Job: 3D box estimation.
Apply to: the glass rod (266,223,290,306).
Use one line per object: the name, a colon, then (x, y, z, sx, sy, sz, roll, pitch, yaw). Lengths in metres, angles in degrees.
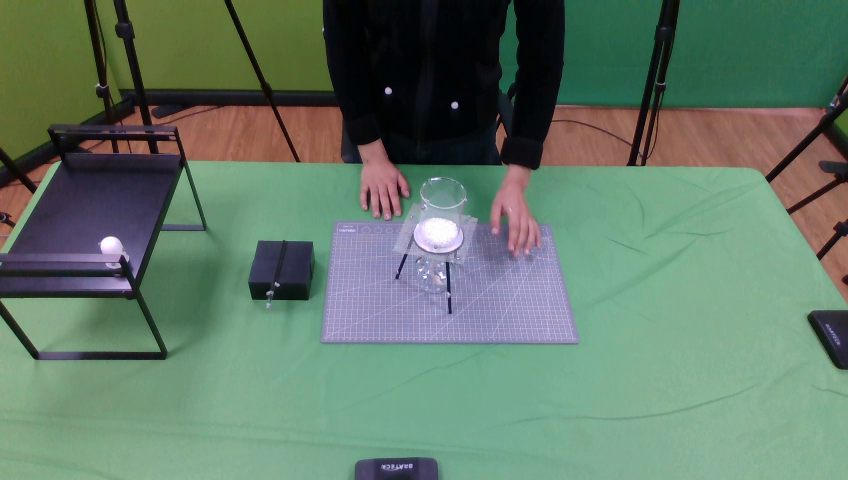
glass rod: (-0.260, 0.039, 1.083, 0.008, 0.008, 0.198, 3, 46, -1)

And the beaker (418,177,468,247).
beaker: (0.026, -0.045, 1.004, 0.074, 0.101, 0.083, -20, 51, -22)

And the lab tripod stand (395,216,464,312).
lab tripod stand: (0.023, 0.037, 1.084, 0.148, 0.132, 0.147, 4, 47, -4)

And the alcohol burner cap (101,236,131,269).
alcohol burner cap: (-0.452, 0.016, 0.883, 0.034, 0.048, 0.033, 2, 47, -1)

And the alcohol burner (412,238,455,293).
alcohol burner: (0.019, 0.040, 1.094, 0.078, 0.119, 0.077, 3, 45, -3)

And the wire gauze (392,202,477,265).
wire gauze: (0.021, -0.011, 1.038, 0.121, 0.011, 0.124, 13, 49, 8)
